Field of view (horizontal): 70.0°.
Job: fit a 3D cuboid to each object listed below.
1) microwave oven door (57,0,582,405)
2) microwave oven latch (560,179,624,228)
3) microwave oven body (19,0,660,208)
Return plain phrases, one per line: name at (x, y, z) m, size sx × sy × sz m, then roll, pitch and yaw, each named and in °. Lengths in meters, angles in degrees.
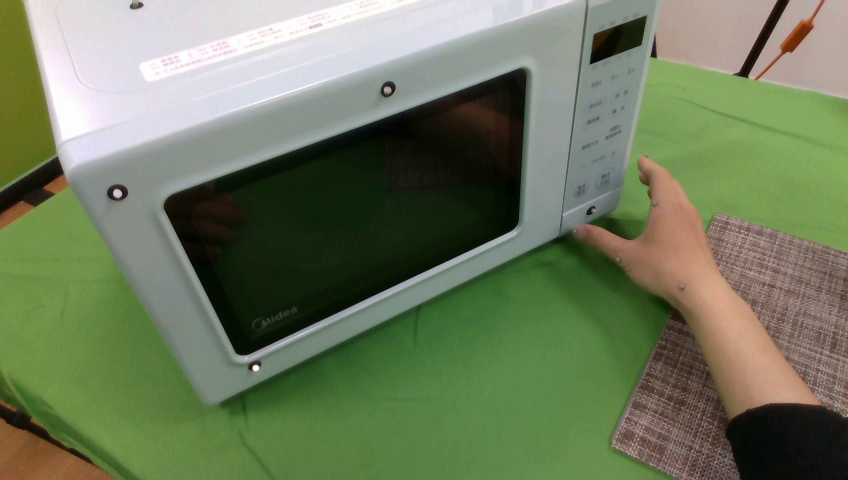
microwave oven door at (-0.037, -0.029, 0.465) m, size 0.356 × 0.246 × 0.039 m, roll -25°, pitch 47°, yaw -19°
microwave oven latch at (0.161, -0.042, 0.606) m, size 0.079 × 0.030 × 0.030 m, roll -24°, pitch 48°, yaw -17°
microwave oven body at (-0.073, -0.126, 0.575) m, size 0.442 × 0.263 × 0.322 m, roll -25°, pitch 48°, yaw -18°
